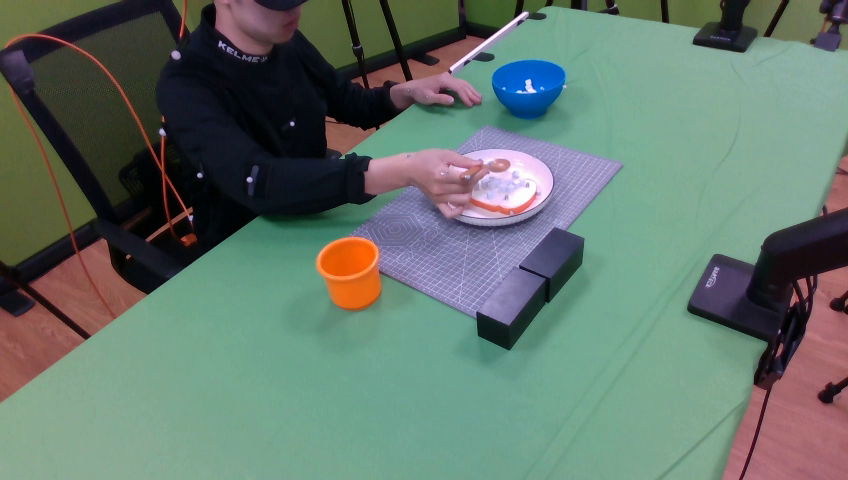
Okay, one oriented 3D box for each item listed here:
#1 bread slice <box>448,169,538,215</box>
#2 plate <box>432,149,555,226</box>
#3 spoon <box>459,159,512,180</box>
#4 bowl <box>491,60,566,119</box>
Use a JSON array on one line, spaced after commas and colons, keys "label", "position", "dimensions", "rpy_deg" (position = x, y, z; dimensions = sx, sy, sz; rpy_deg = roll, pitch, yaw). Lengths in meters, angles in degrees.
[{"label": "bread slice", "position": [0.126, -0.085, 1.038], "dimensions": [0.133, 0.018, 0.107], "rpy_deg": [17, 45, 27]}, {"label": "plate", "position": [0.119, -0.087, 1.037], "dimensions": [0.209, 0.038, 0.208], "rpy_deg": [-4, 40, 4]}, {"label": "spoon", "position": [0.095, -0.113, 0.961], "dimensions": [0.041, 0.021, 0.195], "rpy_deg": [13, 15, 24]}, {"label": "bowl", "position": [0.215, -0.302, 1.248], "dimensions": [0.151, 0.077, 0.150], "rpy_deg": [-4, 41, 4]}]
